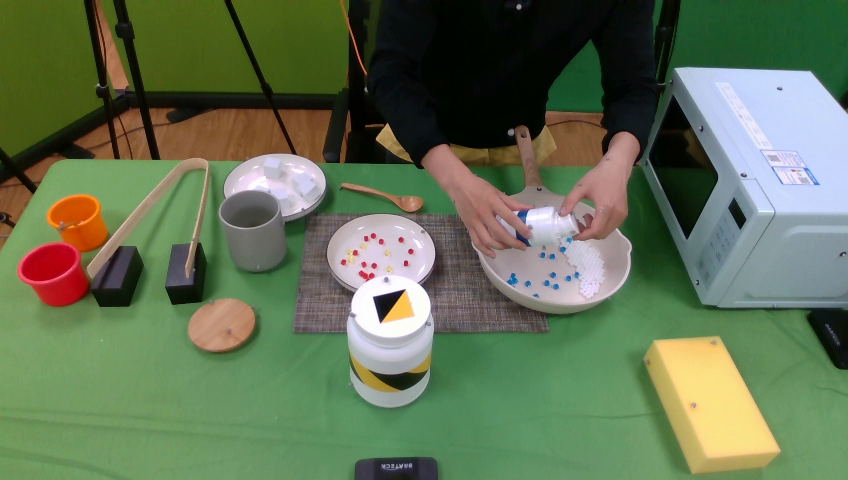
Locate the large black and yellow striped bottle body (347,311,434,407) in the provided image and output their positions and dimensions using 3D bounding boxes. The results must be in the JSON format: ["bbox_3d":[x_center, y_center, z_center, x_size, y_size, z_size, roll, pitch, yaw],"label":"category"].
[{"bbox_3d":[-0.052,0.157,0.929,0.131,0.185,0.130,2,47,-2],"label":"large black and yellow striped bottle body"}]

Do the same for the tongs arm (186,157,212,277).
[{"bbox_3d":[-0.445,-0.058,1.168,0.051,0.026,0.382,-4,37,-6],"label":"tongs arm"}]

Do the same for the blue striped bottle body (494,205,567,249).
[{"bbox_3d":[0.179,-0.022,0.976,0.120,0.063,0.063,-6,41,27],"label":"blue striped bottle body"}]

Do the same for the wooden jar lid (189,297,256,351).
[{"bbox_3d":[-0.342,0.145,1.033,0.108,0.021,0.107,2,45,-2],"label":"wooden jar lid"}]

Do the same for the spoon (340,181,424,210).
[{"bbox_3d":[-0.091,-0.100,1.282,0.193,0.022,0.041,18,64,13],"label":"spoon"}]

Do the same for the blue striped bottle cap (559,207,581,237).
[{"bbox_3d":[0.229,-0.029,0.949,0.020,0.045,0.044,-25,40,27],"label":"blue striped bottle cap"}]

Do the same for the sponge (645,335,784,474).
[{"bbox_3d":[0.449,0.253,0.956,0.118,0.061,0.205,-4,46,-7],"label":"sponge"}]

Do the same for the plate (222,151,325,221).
[{"bbox_3d":[-0.310,-0.106,1.262,0.208,0.039,0.206,2,47,-2],"label":"plate"}]

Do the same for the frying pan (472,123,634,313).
[{"bbox_3d":[0.236,-0.060,1.207,0.307,0.103,0.484,2,55,-5],"label":"frying pan"}]

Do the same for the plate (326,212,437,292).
[{"bbox_3d":[-0.080,0.030,1.143,0.209,0.038,0.208,2,46,-2],"label":"plate"}]

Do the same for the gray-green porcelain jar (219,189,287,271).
[{"bbox_3d":[-0.310,-0.014,1.113,0.106,0.127,0.105,2,46,-2],"label":"gray-green porcelain jar"}]

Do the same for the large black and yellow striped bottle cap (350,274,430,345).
[{"bbox_3d":[-0.048,0.097,0.868,0.115,0.019,0.114,3,48,-3],"label":"large black and yellow striped bottle cap"}]

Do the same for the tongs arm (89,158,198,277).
[{"bbox_3d":[-0.529,-0.058,1.163,0.028,0.028,0.385,2,36,7],"label":"tongs arm"}]

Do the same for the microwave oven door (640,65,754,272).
[{"bbox_3d":[0.524,-0.148,1.193,0.039,0.245,0.353,0,47,-3],"label":"microwave oven door"}]

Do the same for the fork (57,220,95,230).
[{"bbox_3d":[-0.624,-0.027,1.087,0.028,0.207,0.018,-3,92,-17],"label":"fork"}]

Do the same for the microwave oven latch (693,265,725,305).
[{"bbox_3d":[0.523,0.082,1.116,0.030,0.029,0.078,2,46,-1],"label":"microwave oven latch"}]

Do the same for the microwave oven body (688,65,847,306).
[{"bbox_3d":[0.669,-0.111,1.176,0.326,0.261,0.439,0,46,-3],"label":"microwave oven body"}]
